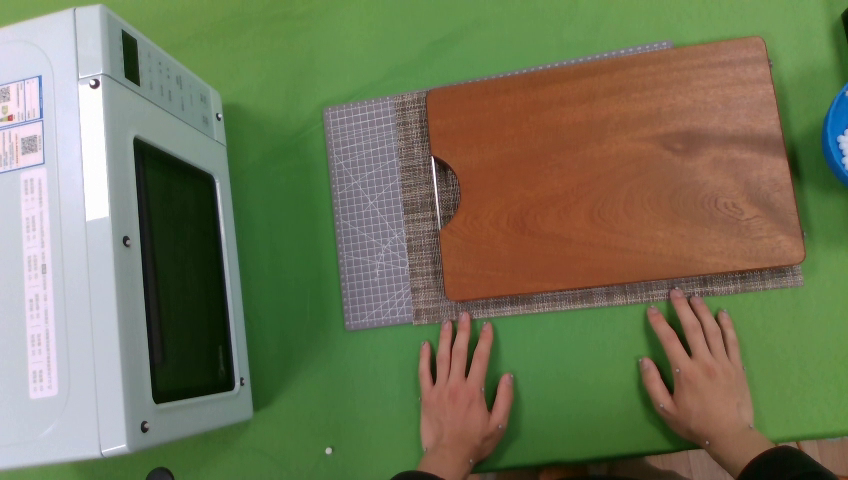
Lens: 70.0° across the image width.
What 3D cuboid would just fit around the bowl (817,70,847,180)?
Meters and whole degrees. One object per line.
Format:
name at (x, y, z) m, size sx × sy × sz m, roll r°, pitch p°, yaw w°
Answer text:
bowl at (0.493, -0.116, 0.649) m, size 0.151 × 0.077 × 0.151 m, roll -1°, pitch 83°, yaw 11°

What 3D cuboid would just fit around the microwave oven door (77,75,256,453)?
microwave oven door at (-0.274, 0.031, 0.668) m, size 0.039 × 0.245 × 0.354 m, roll -11°, pitch 81°, yaw 9°

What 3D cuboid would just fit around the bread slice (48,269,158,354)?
bread slice at (-0.400, 0.088, 0.753) m, size 0.131 × 0.019 × 0.105 m, roll 2°, pitch 89°, yaw 2°

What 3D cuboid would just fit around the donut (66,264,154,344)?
donut at (-0.373, 0.076, 0.720) m, size 0.099 × 0.048 × 0.099 m, roll 0°, pitch 99°, yaw -3°

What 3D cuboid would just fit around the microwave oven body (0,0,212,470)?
microwave oven body at (-0.422, 0.017, 0.702) m, size 0.326 × 0.261 × 0.440 m, roll -11°, pitch 82°, yaw 8°

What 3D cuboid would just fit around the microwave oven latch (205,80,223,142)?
microwave oven latch at (-0.288, -0.169, 0.800) m, size 0.030 × 0.029 × 0.079 m, roll -11°, pitch 82°, yaw 8°

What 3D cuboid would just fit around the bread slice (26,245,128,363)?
bread slice at (-0.389, 0.080, 0.674) m, size 0.134 × 0.018 × 0.106 m, roll -24°, pitch 81°, yaw 21°
